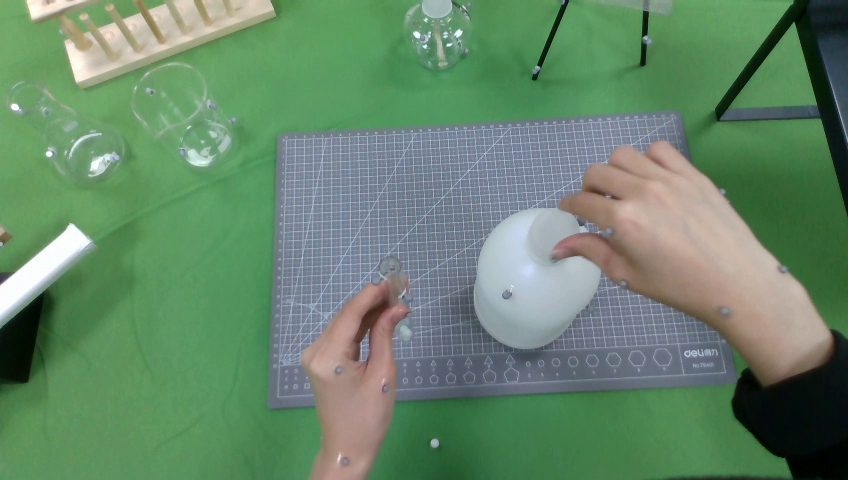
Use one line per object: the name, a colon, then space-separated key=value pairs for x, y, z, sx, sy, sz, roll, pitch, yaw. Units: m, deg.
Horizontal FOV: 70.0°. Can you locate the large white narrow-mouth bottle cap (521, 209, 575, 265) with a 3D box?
large white narrow-mouth bottle cap: x=0.089 y=-0.002 z=0.431 sx=0.038 sy=0.024 sz=0.037 roll=0 pitch=72 yaw=2

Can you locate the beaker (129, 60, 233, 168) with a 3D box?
beaker: x=-0.249 y=-0.124 z=0.633 sx=0.074 sy=0.101 sz=0.083 roll=11 pitch=71 yaw=6

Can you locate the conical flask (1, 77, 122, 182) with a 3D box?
conical flask: x=-0.374 y=-0.117 z=0.621 sx=0.075 sy=0.122 sz=0.075 roll=-1 pitch=70 yaw=2

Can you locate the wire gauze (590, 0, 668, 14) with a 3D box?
wire gauze: x=0.186 y=-0.279 z=0.587 sx=0.121 sy=0.011 sz=0.124 roll=18 pitch=73 yaw=6

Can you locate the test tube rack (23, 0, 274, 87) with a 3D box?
test tube rack: x=-0.307 y=-0.268 z=0.692 sx=0.242 sy=0.086 sz=0.066 roll=-23 pitch=71 yaw=-7

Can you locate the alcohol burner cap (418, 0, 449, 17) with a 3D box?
alcohol burner cap: x=0.009 y=-0.260 z=0.628 sx=0.034 sy=0.048 sz=0.033 roll=0 pitch=69 yaw=1

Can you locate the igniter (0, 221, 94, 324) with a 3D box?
igniter: x=-0.425 y=0.087 z=0.552 sx=0.057 sy=0.025 sz=0.276 roll=40 pitch=73 yaw=12

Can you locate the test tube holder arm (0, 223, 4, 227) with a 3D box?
test tube holder arm: x=-0.473 y=0.048 z=0.570 sx=0.013 sy=0.015 sz=0.178 roll=40 pitch=75 yaw=14

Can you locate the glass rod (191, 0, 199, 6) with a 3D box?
glass rod: x=-0.288 y=-0.326 z=0.641 sx=0.008 sy=0.201 sz=0.008 roll=-3 pitch=64 yaw=7

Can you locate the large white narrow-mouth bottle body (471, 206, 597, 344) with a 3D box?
large white narrow-mouth bottle body: x=0.094 y=0.027 z=0.520 sx=0.102 sy=0.196 sz=0.101 roll=-1 pitch=72 yaw=2

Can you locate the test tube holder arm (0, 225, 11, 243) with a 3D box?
test tube holder arm: x=-0.438 y=0.020 z=0.580 sx=0.010 sy=0.015 sz=0.087 roll=41 pitch=76 yaw=14

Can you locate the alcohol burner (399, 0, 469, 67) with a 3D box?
alcohol burner: x=0.011 y=-0.246 z=0.662 sx=0.078 sy=0.120 sz=0.077 roll=0 pitch=69 yaw=0

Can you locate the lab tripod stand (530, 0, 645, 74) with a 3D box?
lab tripod stand: x=0.181 y=-0.254 z=0.650 sx=0.148 sy=0.132 sz=0.147 roll=0 pitch=69 yaw=0

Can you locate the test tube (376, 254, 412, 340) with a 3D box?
test tube: x=-0.020 y=0.048 z=0.456 sx=0.017 sy=0.151 sz=0.017 roll=-1 pitch=64 yaw=2
